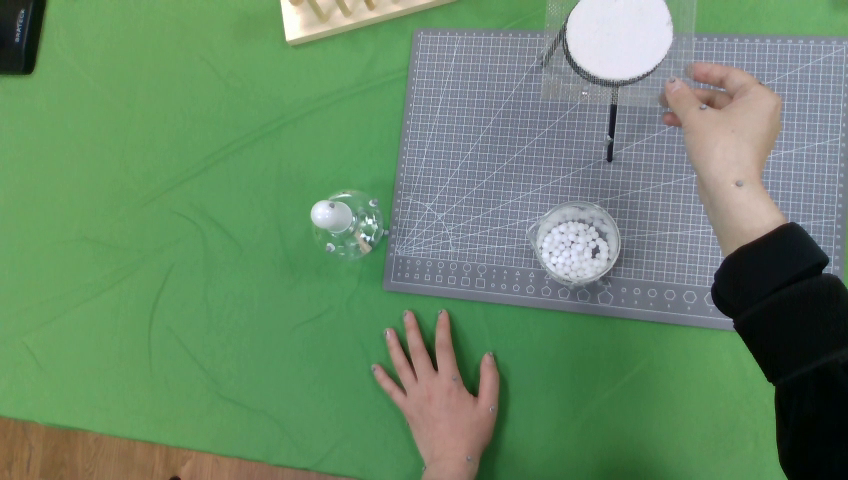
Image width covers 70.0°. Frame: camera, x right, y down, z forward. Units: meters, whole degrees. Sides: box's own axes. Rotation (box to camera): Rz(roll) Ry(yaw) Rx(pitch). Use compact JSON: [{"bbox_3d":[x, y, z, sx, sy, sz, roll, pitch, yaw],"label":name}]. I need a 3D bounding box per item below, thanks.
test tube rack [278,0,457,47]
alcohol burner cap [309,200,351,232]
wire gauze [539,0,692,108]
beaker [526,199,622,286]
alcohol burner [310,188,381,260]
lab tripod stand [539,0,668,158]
[{"bbox_3d":[-0.059,-0.291,0.666,0.242,0.085,0.066,-12,81,10],"label":"test tube rack"},{"bbox_3d":[-0.095,-0.025,0.591,0.034,0.048,0.034,-1,87,12],"label":"alcohol burner cap"},{"bbox_3d":[0.161,-0.173,0.508,0.125,0.011,0.121,5,86,13],"label":"wire gauze"},{"bbox_3d":[0.141,0.006,0.580,0.083,0.101,0.074,12,85,14],"label":"beaker"},{"bbox_3d":[-0.087,-0.020,0.626,0.078,0.120,0.077,-2,81,11],"label":"alcohol burner"},{"bbox_3d":[0.175,-0.164,0.574,0.148,0.132,0.148,-1,84,10],"label":"lab tripod stand"}]
